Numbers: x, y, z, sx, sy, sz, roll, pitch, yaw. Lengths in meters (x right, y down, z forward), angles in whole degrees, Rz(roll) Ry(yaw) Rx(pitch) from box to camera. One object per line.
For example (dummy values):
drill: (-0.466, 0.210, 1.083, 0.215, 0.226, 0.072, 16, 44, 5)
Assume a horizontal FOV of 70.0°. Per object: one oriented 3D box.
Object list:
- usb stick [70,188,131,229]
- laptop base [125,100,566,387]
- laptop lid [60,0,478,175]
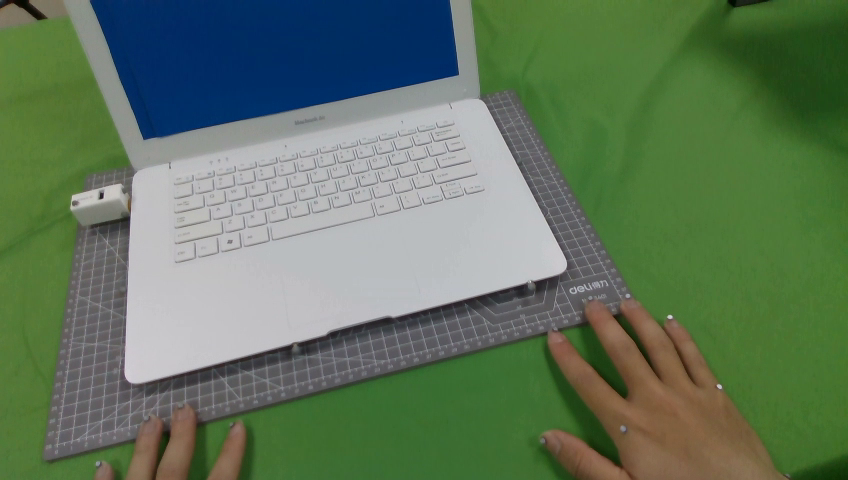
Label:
usb stick: (-0.287, -0.030, 0.553, 0.059, 0.027, 0.021, -11, 49, -10)
laptop base: (-0.080, -0.014, 0.542, 0.355, 0.023, 0.233, -14, 54, -8)
laptop lid: (-0.130, -0.201, 0.556, 0.357, 0.244, 0.013, -15, 30, -7)
